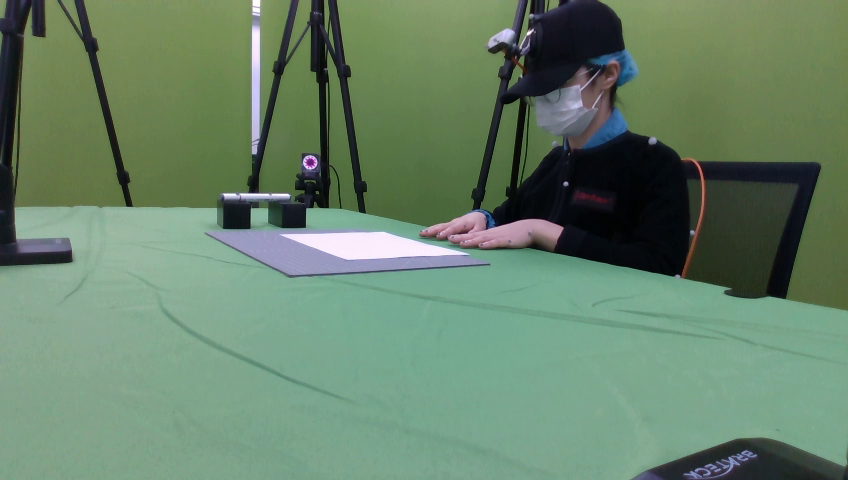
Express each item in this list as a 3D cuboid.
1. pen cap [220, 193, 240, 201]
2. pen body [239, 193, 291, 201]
[{"bbox_3d":[-0.383,-0.085,1.194,0.039,0.017,0.017,-5,10,-43],"label":"pen cap"},{"bbox_3d":[-0.337,-0.089,1.236,0.145,0.017,0.017,-5,10,-43],"label":"pen body"}]
